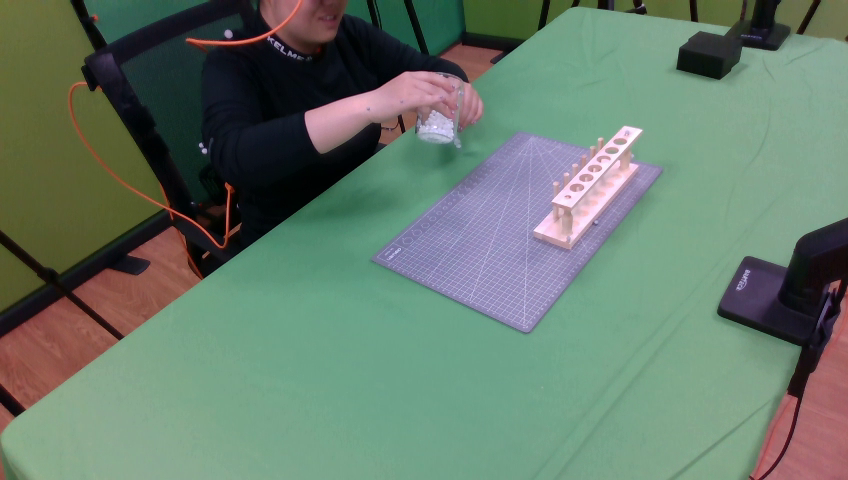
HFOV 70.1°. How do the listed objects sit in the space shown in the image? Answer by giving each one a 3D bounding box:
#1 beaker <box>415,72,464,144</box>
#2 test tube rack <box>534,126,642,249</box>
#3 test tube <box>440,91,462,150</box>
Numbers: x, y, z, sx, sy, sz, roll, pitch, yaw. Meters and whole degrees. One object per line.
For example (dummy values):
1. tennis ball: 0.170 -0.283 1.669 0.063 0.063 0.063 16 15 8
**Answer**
1. beaker: 0.024 -0.216 1.006 0.074 0.084 0.100 6 84 8
2. test tube rack: 0.271 -0.095 0.990 0.066 0.085 0.243 23 49 33
3. test tube: 0.052 -0.216 1.110 0.017 0.151 0.017 -6 58 11
